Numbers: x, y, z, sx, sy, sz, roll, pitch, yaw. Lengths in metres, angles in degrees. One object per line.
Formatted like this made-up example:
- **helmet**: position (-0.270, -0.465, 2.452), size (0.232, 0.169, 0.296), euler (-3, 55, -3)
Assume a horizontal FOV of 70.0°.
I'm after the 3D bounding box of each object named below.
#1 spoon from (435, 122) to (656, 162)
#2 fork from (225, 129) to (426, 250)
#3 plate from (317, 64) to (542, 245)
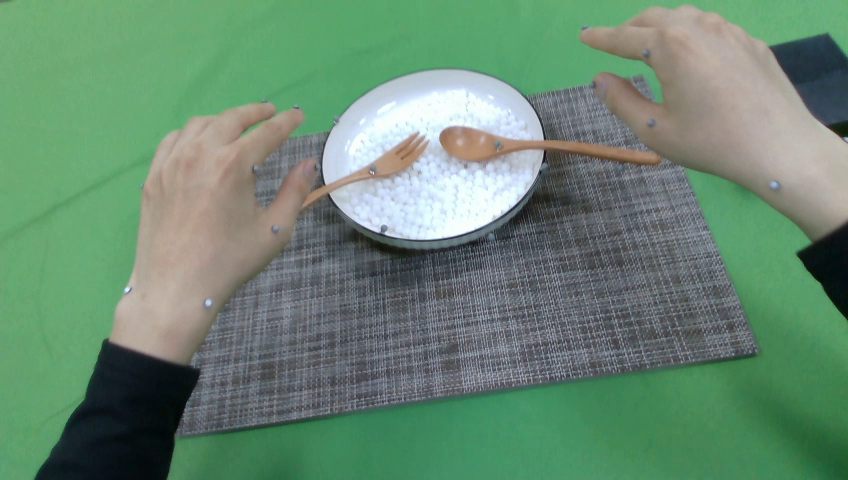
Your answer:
- **spoon**: position (0.101, -0.084, 0.532), size (0.193, 0.022, 0.041), euler (8, 53, 23)
- **fork**: position (-0.084, -0.047, 0.543), size (0.207, 0.019, 0.028), euler (-31, 55, -21)
- **plate**: position (0.005, -0.079, 0.566), size (0.209, 0.038, 0.207), euler (-4, 57, 7)
